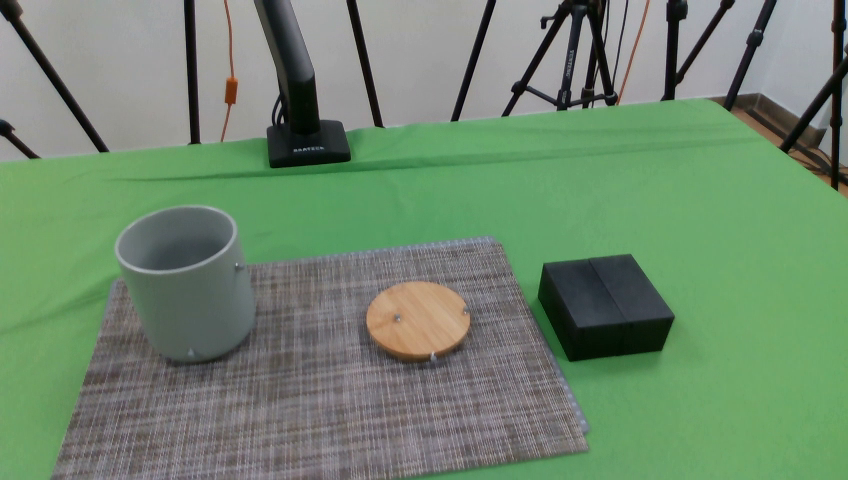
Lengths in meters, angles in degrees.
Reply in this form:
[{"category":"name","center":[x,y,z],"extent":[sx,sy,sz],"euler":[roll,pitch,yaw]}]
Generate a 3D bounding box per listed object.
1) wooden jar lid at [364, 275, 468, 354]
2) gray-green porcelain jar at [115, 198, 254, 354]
[{"category":"wooden jar lid","center":[-0.008,0.078,0.633],"extent":[0.108,0.021,0.107],"euler":[2,39,-1]},{"category":"gray-green porcelain jar","center":[-0.225,0.039,0.588],"extent":[0.106,0.127,0.105],"euler":[1,38,0]}]
